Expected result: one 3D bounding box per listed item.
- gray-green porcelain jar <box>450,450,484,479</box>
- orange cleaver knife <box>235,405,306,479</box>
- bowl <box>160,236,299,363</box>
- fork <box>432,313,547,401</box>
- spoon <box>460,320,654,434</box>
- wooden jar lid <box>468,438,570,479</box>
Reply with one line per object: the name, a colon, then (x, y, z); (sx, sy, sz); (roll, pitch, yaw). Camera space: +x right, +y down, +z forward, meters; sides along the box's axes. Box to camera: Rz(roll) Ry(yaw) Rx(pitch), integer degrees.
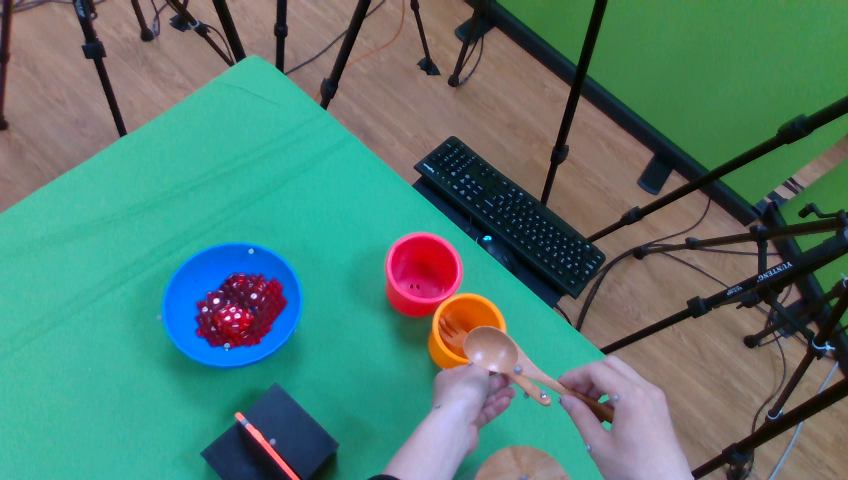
gray-green porcelain jar: (0.082, 0.282, 0.656); (0.106, 0.127, 0.105); (5, 63, -9)
orange cleaver knife: (-0.129, 0.257, 0.646); (0.012, 0.077, 0.212); (-42, 102, -24)
bowl: (-0.224, 0.079, 0.716); (0.152, 0.077, 0.150); (5, 64, -10)
fork: (0.072, 0.134, 0.713); (0.028, 0.019, 0.205); (-18, 25, -27)
spoon: (0.122, 0.130, 0.559); (0.193, 0.022, 0.041); (28, 94, 11)
wooden jar lid: (0.094, 0.253, 0.599); (0.108, 0.021, 0.107); (4, 64, -8)
